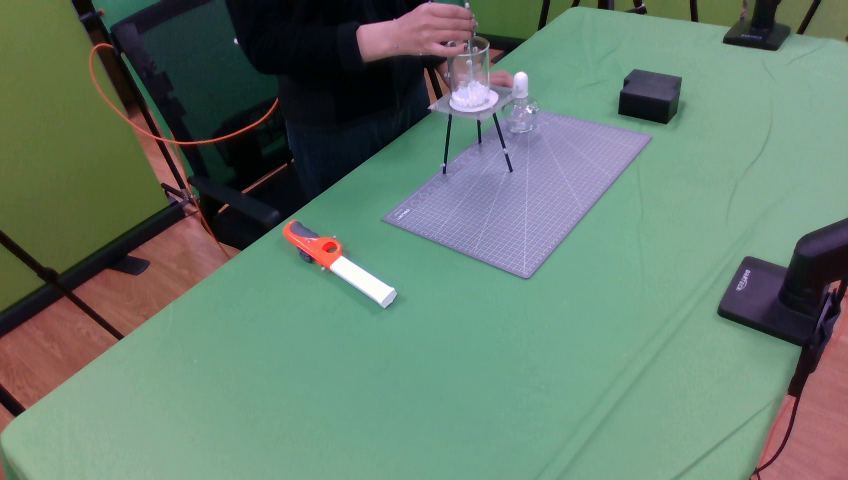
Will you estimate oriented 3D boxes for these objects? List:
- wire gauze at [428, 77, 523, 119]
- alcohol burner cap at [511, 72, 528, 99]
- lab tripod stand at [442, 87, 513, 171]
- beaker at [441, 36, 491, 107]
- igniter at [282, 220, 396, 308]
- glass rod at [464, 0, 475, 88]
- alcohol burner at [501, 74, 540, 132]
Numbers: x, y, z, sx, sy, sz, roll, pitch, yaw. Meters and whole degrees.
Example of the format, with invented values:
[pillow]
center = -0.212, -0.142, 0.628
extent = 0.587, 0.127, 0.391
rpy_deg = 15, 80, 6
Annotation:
[wire gauze]
center = 0.090, -0.249, 1.063
extent = 0.120, 0.011, 0.125
rpy_deg = 24, 48, 30
[alcohol burner cap]
center = 0.185, -0.302, 1.171
extent = 0.034, 0.048, 0.033
rpy_deg = -2, 42, 2
[lab tripod stand]
center = 0.097, -0.200, 1.108
extent = 0.148, 0.132, 0.147
rpy_deg = -4, 40, 4
[beaker]
center = 0.074, -0.286, 1.036
extent = 0.084, 0.101, 0.073
rpy_deg = -1, 41, 8
[igniter]
center = -0.146, 0.032, 0.966
extent = 0.274, 0.025, 0.057
rpy_deg = 30, 64, 37
[glass rod]
center = 0.074, -0.341, 1.003
extent = 0.008, 0.200, 0.008
rpy_deg = -5, 44, 5
[alcohol burner]
center = 0.191, -0.275, 1.194
extent = 0.078, 0.119, 0.077
rpy_deg = -4, 42, 4
